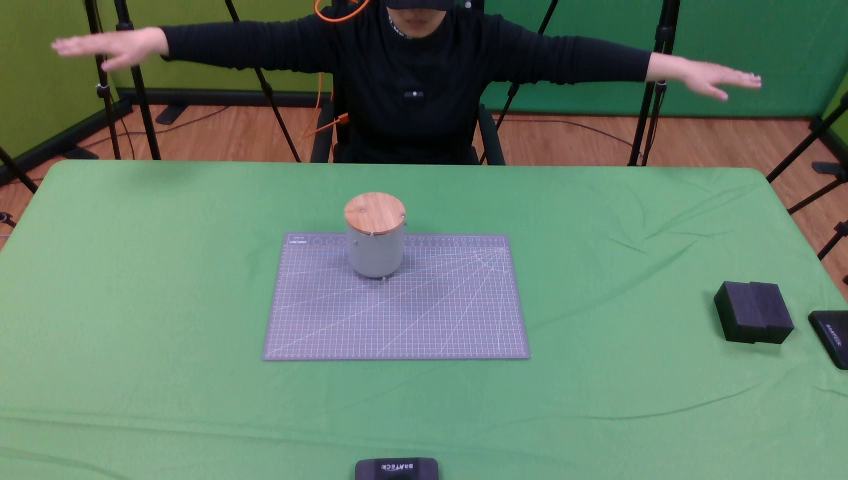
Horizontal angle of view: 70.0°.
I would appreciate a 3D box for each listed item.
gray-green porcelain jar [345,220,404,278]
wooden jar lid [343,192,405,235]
[{"bbox_3d":[-0.091,-0.001,1.117,0.106,0.127,0.105,2,46,-2],"label":"gray-green porcelain jar"},{"bbox_3d":[-0.088,-0.044,1.072,0.108,0.021,0.107,3,45,-3],"label":"wooden jar lid"}]
